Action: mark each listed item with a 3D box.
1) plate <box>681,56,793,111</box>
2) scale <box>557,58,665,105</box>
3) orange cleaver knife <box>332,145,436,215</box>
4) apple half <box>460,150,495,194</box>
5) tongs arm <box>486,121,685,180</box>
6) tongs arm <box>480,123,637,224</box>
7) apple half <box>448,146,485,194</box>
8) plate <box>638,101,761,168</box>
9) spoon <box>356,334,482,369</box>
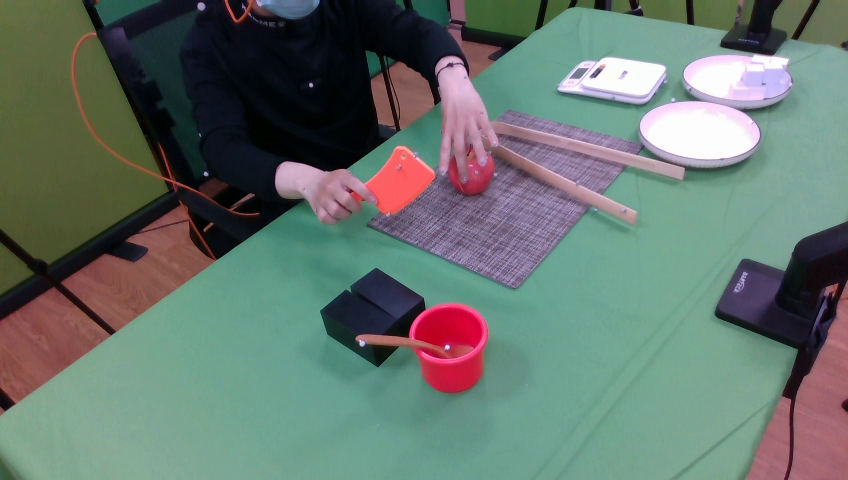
[{"bbox_3d":[0.636,-0.317,1.239,0.207,0.039,0.206,-4,40,4],"label":"plate"},{"bbox_3d":[0.406,-0.348,1.314,0.199,0.032,0.149,19,47,28],"label":"scale"},{"bbox_3d":[-0.064,-0.072,0.904,0.210,0.077,0.012,-29,15,44],"label":"orange cleaver knife"},{"bbox_3d":[0.100,-0.112,1.047,0.081,0.081,0.032,-32,43,-26],"label":"apple half"},{"bbox_3d":[0.287,-0.170,1.124,0.384,0.028,0.028,21,52,29],"label":"tongs arm"},{"bbox_3d":[0.228,-0.128,1.080,0.051,0.026,0.381,-33,46,-26],"label":"tongs arm"},{"bbox_3d":[0.075,-0.128,1.070,0.081,0.075,0.053,-35,44,-24],"label":"apple half"},{"bbox_3d":[0.500,-0.190,1.111,0.209,0.038,0.208,-4,41,4],"label":"plate"},{"bbox_3d":[-0.001,0.130,0.731,0.195,0.021,0.041,21,28,-39],"label":"spoon"}]
